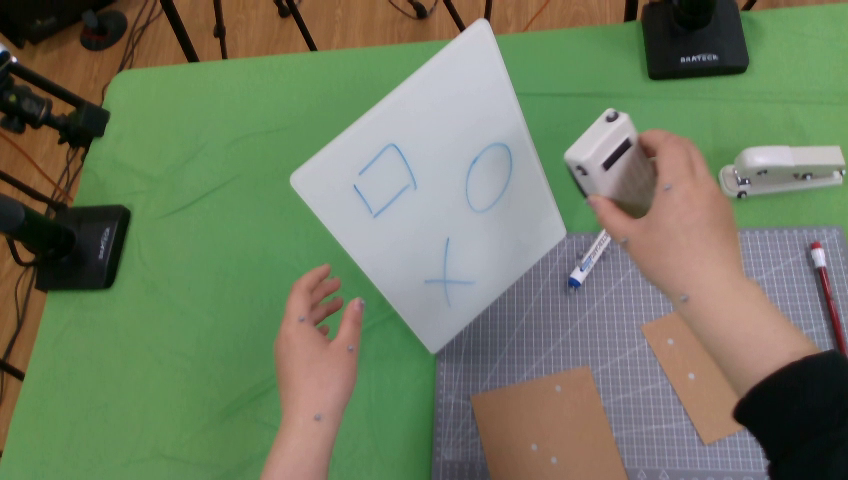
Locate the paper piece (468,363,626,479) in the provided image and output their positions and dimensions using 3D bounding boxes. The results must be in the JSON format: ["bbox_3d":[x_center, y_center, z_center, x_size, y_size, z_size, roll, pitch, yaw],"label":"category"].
[{"bbox_3d":[0.127,0.210,0.636,0.135,0.004,0.134,-15,66,3],"label":"paper piece"}]

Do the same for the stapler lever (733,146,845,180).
[{"bbox_3d":[0.408,-0.088,0.676,0.118,0.040,0.026,-7,68,7],"label":"stapler lever"}]

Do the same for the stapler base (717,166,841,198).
[{"bbox_3d":[0.411,-0.078,0.698,0.130,0.024,0.041,-7,68,6],"label":"stapler base"}]

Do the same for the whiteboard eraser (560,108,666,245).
[{"bbox_3d":[0.154,-0.050,0.499,0.055,0.114,0.041,-43,36,-3],"label":"whiteboard eraser"}]

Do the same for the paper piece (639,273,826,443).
[{"bbox_3d":[0.319,0.122,0.637,0.136,0.009,0.137,-24,67,5],"label":"paper piece"}]

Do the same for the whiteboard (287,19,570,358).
[{"bbox_3d":[-0.002,-0.058,0.647,0.217,0.309,0.142,-40,45,-6],"label":"whiteboard"}]

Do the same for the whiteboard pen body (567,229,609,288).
[{"bbox_3d":[0.209,-0.004,0.706,0.017,0.017,0.140,32,76,22],"label":"whiteboard pen body"}]

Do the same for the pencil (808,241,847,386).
[{"bbox_3d":[0.427,0.091,0.627,0.012,0.012,0.192,-5,68,9],"label":"pencil"}]

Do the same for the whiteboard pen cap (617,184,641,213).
[{"bbox_3d":[0.243,-0.049,0.718,0.018,0.018,0.033,29,75,21],"label":"whiteboard pen cap"}]
